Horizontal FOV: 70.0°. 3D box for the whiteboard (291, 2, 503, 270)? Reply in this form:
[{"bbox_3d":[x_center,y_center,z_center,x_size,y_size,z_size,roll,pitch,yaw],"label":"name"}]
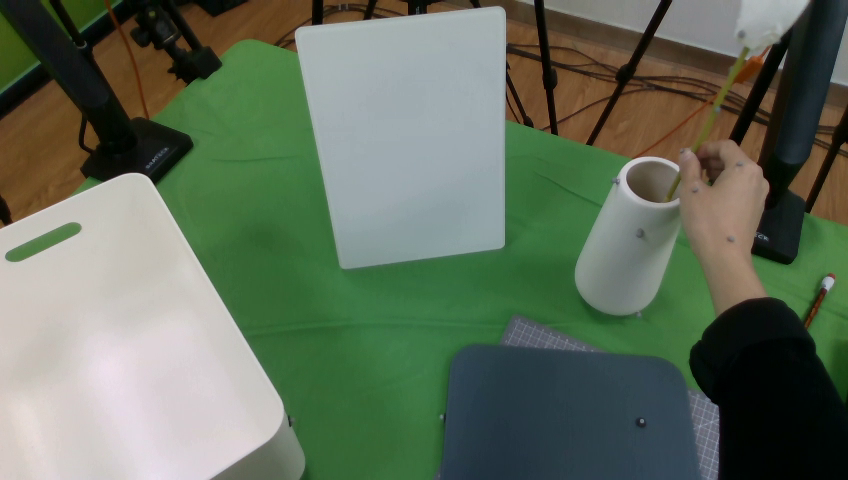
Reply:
[{"bbox_3d":[-0.023,-0.140,0.751,0.217,0.308,0.142,-7,35,-3],"label":"whiteboard"}]

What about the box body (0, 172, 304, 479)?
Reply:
[{"bbox_3d":[-0.312,0.138,0.607,0.254,0.162,0.360,-31,59,-19],"label":"box body"}]

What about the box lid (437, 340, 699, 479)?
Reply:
[{"bbox_3d":[0.142,0.270,0.593,0.263,0.015,0.368,4,55,3],"label":"box lid"}]

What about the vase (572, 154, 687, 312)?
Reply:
[{"bbox_3d":[0.226,-0.003,0.674,0.098,0.202,0.097,-1,53,2],"label":"vase"}]

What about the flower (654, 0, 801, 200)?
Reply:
[{"bbox_3d":[0.238,-0.071,0.567,0.038,0.364,0.043,-12,49,-21],"label":"flower"}]

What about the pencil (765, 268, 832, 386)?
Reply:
[{"bbox_3d":[0.441,0.100,0.712,0.012,0.012,0.193,33,63,23],"label":"pencil"}]
